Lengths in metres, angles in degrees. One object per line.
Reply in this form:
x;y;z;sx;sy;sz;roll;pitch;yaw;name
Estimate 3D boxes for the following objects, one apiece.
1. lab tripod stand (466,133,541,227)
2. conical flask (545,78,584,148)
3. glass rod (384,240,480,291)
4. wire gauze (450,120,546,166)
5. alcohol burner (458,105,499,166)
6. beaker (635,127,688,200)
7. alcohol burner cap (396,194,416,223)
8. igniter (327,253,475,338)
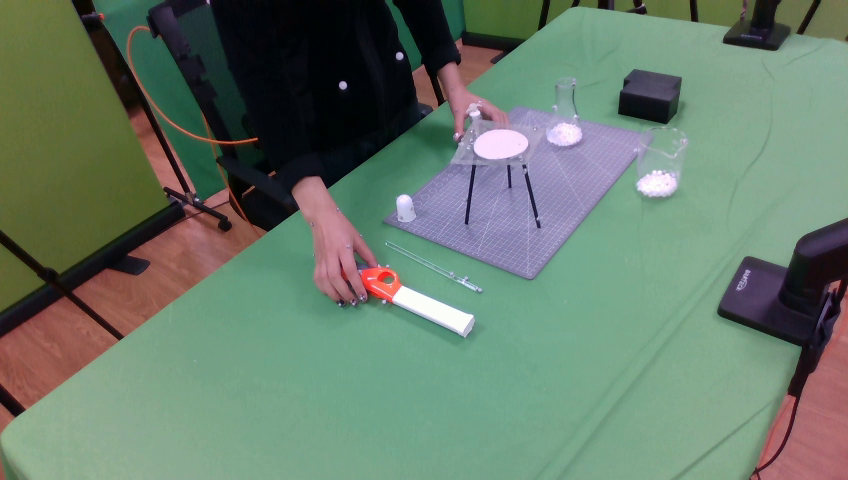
0.129;-0.099;0.985;0.148;0.132;0.147;-7;38;6;lab tripod stand
0.264;-0.241;1.135;0.075;0.122;0.075;-6;40;5;conical flask
0.008;0.037;0.949;0.198;0.008;0.008;26;52;34;glass rod
0.117;-0.151;0.943;0.121;0.011;0.125;9;43;21;wire gauze
0.099;-0.199;1.125;0.078;0.120;0.077;-6;42;6;alcohol burner
0.388;-0.122;0.994;0.074;0.101;0.083;-8;40;2;beaker
-0.032;-0.056;1.036;0.034;0.048;0.033;-6;41;6;alcohol burner cap
-0.045;0.077;0.898;0.274;0.025;0.057;22;60;32;igniter
